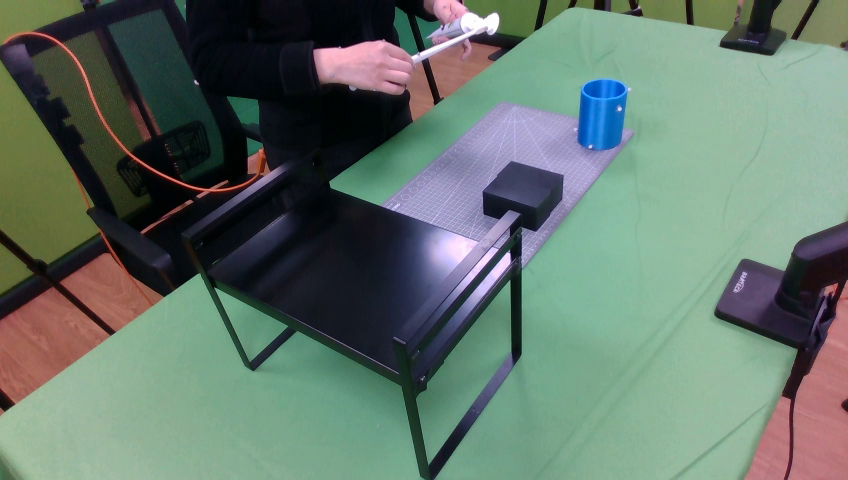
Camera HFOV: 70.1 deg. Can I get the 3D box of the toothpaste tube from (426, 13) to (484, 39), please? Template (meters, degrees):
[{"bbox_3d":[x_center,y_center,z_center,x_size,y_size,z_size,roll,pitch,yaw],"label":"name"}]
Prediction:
[{"bbox_3d":[0.060,-0.381,1.089,0.055,0.034,0.164,-18,17,-20],"label":"toothpaste tube"}]

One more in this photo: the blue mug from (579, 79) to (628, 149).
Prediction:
[{"bbox_3d":[0.336,-0.246,1.143,0.082,0.106,0.116,0,41,10],"label":"blue mug"}]

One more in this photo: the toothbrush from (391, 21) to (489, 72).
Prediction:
[{"bbox_3d":[0.026,-0.319,0.996,0.182,0.014,0.016,-28,72,-8],"label":"toothbrush"}]

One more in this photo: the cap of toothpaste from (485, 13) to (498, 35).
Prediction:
[{"bbox_3d":[0.112,-0.364,1.017,0.011,0.037,0.037,5,32,-32],"label":"cap of toothpaste"}]
